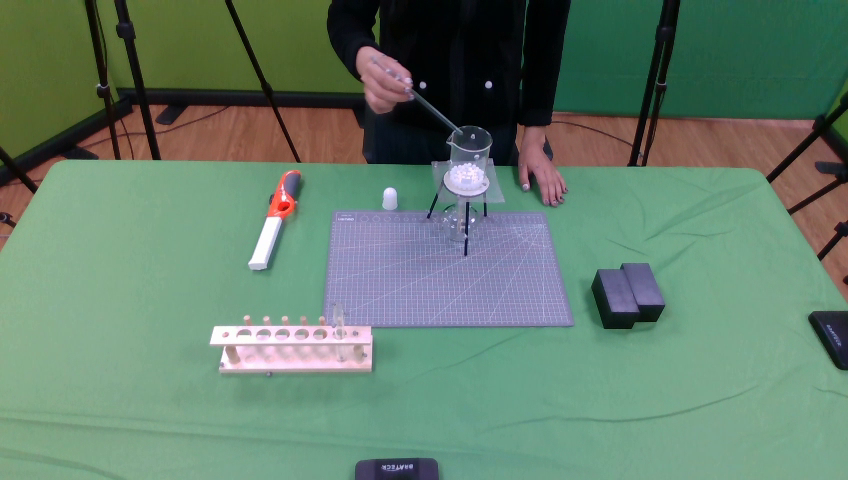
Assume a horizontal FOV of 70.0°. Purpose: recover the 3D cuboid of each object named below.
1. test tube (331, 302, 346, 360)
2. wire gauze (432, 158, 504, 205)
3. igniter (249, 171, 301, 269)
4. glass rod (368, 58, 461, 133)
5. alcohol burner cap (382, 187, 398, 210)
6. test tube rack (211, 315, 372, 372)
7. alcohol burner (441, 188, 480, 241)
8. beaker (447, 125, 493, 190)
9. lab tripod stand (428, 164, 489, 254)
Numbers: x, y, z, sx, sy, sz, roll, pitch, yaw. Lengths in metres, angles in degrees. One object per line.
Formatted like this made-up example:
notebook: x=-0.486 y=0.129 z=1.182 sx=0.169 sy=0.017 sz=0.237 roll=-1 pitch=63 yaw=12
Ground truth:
test tube: x=-0.132 y=0.144 z=0.938 sx=0.017 sy=0.151 sz=0.017 roll=2 pitch=49 yaw=-3
wire gauze: x=0.081 y=-0.111 z=1.138 sx=0.125 sy=0.011 sz=0.120 roll=0 pitch=48 yaw=-7
igniter: x=-0.297 y=-0.049 z=1.220 sx=0.057 sy=0.025 sz=0.275 roll=-1 pitch=45 yaw=9
glass rod: x=-0.012 y=-0.231 z=0.981 sx=0.201 sy=0.008 sz=0.008 roll=33 pitch=38 yaw=-29
alcohol burner cap: x=-0.072 y=-0.090 z=1.266 sx=0.034 sy=0.048 sz=0.033 roll=2 pitch=47 yaw=-2
test tube rack: x=-0.208 y=0.163 z=0.982 sx=0.242 sy=0.085 sz=0.066 roll=1 pitch=46 yaw=-4
alcohol burner: x=0.073 y=-0.055 z=1.189 sx=0.078 sy=0.120 sz=0.077 roll=1 pitch=48 yaw=-1
beaker: x=0.079 y=-0.148 z=1.106 sx=0.084 sy=0.101 sz=0.073 roll=-3 pitch=47 yaw=-7
lab tripod stand: x=0.078 y=-0.068 z=1.188 sx=0.148 sy=0.132 sz=0.147 roll=3 pitch=47 yaw=-3
